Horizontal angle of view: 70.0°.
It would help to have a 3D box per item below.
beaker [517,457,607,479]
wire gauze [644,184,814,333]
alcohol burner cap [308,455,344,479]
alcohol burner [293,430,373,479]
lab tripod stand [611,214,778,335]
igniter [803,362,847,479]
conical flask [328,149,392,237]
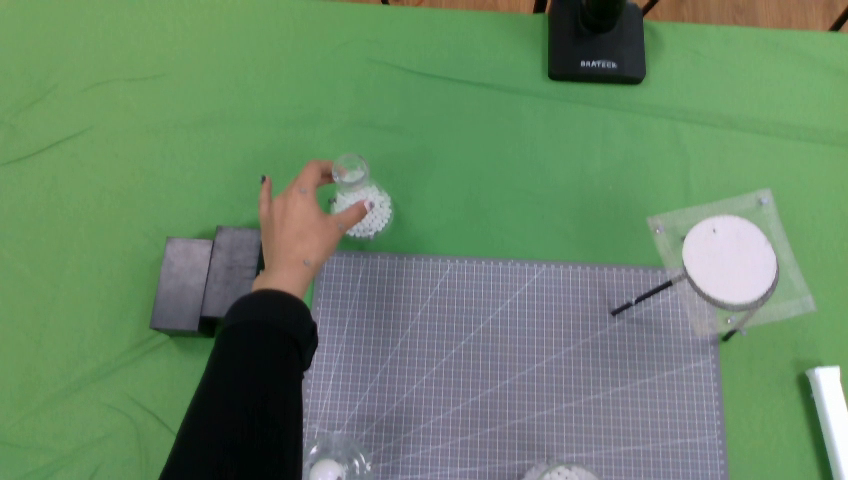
[{"bbox_3d":[0.130,0.243,0.576,0.084,0.101,0.073,-15,73,-5],"label":"beaker"},{"bbox_3d":[0.283,0.016,0.561,0.125,0.011,0.120,-13,75,-4],"label":"wire gauze"},{"bbox_3d":[-0.088,0.207,0.541,0.034,0.048,0.033,3,65,-7],"label":"alcohol burner cap"},{"bbox_3d":[-0.088,0.219,0.574,0.078,0.120,0.077,1,71,-2],"label":"alcohol burner"},{"bbox_3d":[0.280,0.040,0.624,0.148,0.132,0.147,0,74,-1],"label":"lab tripod stand"},{"bbox_3d":[0.433,0.263,0.612,0.057,0.025,0.275,0,73,-11],"label":"igniter"},{"bbox_3d":[-0.075,-0.056,0.657,0.075,0.122,0.075,0,72,0],"label":"conical flask"}]
